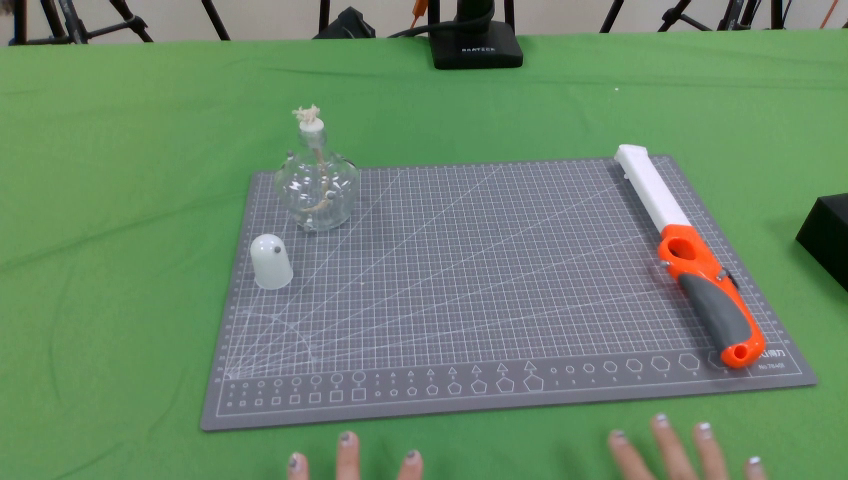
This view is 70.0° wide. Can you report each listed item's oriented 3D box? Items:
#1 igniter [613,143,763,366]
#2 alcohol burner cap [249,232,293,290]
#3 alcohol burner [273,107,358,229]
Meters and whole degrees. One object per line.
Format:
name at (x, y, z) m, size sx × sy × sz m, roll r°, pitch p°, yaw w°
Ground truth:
igniter at (0.228, -0.002, 0.544) m, size 0.057 × 0.025 × 0.273 m, roll 5°, pitch 42°, yaw -12°
alcohol burner cap at (-0.129, 0.014, 0.506) m, size 0.034 × 0.048 × 0.033 m, roll 1°, pitch 43°, yaw -1°
alcohol burner at (-0.098, -0.068, 0.543) m, size 0.078 × 0.120 × 0.077 m, roll 2°, pitch 44°, yaw -2°
